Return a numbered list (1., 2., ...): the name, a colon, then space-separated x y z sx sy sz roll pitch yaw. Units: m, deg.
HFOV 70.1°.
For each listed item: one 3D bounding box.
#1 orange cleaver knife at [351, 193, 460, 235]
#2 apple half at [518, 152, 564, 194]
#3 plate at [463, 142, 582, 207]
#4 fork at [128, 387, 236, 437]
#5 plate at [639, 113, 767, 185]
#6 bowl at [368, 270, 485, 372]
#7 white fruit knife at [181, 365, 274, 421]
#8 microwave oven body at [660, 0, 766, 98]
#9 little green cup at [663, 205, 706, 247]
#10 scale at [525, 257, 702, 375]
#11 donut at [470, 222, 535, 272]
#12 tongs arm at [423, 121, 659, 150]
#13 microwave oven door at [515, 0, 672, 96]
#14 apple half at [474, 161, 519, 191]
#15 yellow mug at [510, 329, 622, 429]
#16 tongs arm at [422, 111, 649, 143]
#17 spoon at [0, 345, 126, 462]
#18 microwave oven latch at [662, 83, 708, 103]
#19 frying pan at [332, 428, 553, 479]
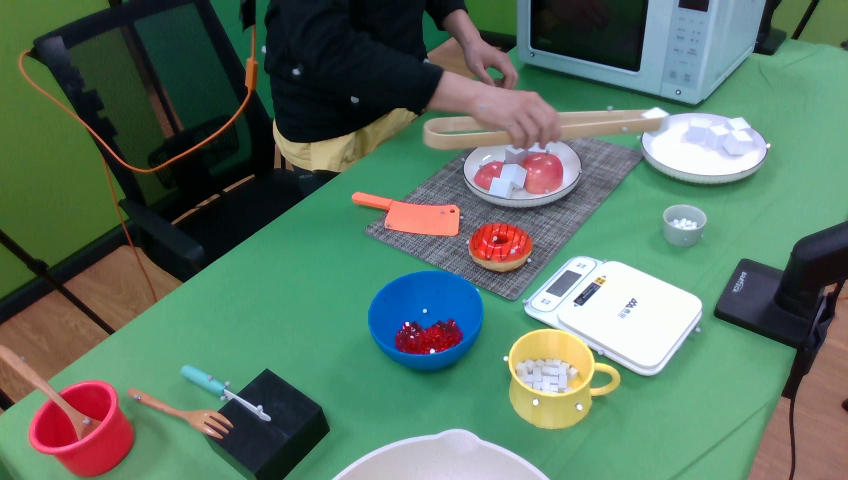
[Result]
1. orange cleaver knife: -0.036 -0.044 1.029 0.210 0.012 0.077 10 48 18
2. apple half: 0.204 -0.124 1.048 0.075 0.053 0.080 -7 41 -3
3. plate: 0.173 -0.119 1.071 0.209 0.038 0.208 -4 40 4
4. fork: -0.305 0.207 0.744 0.206 0.019 0.028 3 41 36
5. plate: 0.489 -0.157 1.074 0.207 0.039 0.206 -4 40 4
6. bowl: 0.007 0.118 0.791 0.151 0.077 0.150 -4 40 4
7. white fruit knife: -0.245 0.187 0.747 0.205 0.027 0.016 9 41 40
8. microwave oven body: 0.472 -0.513 1.317 0.438 0.261 0.327 26 51 34
9. little green cup: 0.396 -0.020 0.926 0.061 0.039 0.061 -4 40 4
10. scale: 0.254 0.091 0.821 0.199 0.032 0.149 28 51 35
11. donut: 0.119 0.009 0.923 0.099 0.048 0.098 -4 38 4
12. tongs arm: 0.190 -0.167 0.951 0.389 0.028 0.028 -5 45 -11
13. microwave oven door: 0.343 -0.455 1.259 0.353 0.245 0.039 26 51 33
14. apple half: 0.130 -0.119 1.068 0.081 0.033 0.081 -3 36 3
15. yellow mug: 0.169 0.164 0.721 0.130 0.064 0.099 0 40 8
16. tongs arm: 0.186 -0.182 0.968 0.386 0.026 0.050 -2 41 -8
17. spoon: -0.434 0.192 0.720 0.194 0.021 0.042 47 53 -6
18. microwave oven latch: 0.518 -0.296 1.204 0.078 0.029 0.030 28 52 35
19. frying pan: -0.089 0.306 0.564 0.487 0.103 0.306 10 41 7
